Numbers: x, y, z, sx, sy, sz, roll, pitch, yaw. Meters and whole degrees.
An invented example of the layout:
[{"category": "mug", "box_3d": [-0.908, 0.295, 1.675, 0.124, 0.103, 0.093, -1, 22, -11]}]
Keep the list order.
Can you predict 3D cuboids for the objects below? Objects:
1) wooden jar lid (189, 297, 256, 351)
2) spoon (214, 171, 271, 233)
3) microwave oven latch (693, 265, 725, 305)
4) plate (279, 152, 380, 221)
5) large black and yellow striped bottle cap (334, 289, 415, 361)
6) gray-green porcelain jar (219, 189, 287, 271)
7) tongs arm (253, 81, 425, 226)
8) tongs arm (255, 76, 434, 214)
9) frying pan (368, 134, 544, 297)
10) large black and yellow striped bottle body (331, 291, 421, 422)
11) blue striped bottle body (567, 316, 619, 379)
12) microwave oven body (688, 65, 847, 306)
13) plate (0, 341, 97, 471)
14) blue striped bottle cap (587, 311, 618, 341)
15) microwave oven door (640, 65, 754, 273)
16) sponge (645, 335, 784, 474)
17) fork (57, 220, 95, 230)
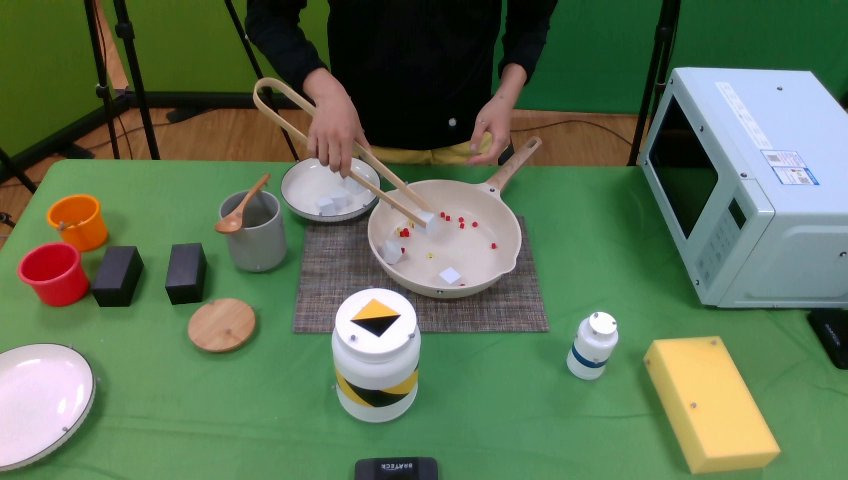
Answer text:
[{"category": "wooden jar lid", "box_3d": [-0.342, 0.145, 1.033, 0.108, 0.021, 0.107, 2, 45, -2]}, {"category": "spoon", "box_3d": [-0.312, -0.070, 1.070, 0.041, 0.022, 0.193, 10, 43, 10]}, {"category": "microwave oven latch", "box_3d": [0.523, 0.081, 1.116, 0.030, 0.029, 0.078, 2, 46, -1]}, {"category": "plate", "box_3d": [-0.196, -0.107, 1.269, 0.208, 0.039, 0.206, 2, 45, -2]}, {"category": "large black and yellow striped bottle cap", "box_3d": [-0.069, 0.117, 0.850, 0.115, 0.019, 0.114, 2, 45, -2]}, {"category": "gray-green porcelain jar", "box_3d": [-0.310, -0.014, 1.113, 0.106, 0.127, 0.105, 2, 46, -2]}, {"category": "tongs arm", "box_3d": [-0.153, -0.146, 1.086, 0.388, 0.028, 0.028, 38, 70, -8]}, {"category": "tongs arm", "box_3d": [-0.141, -0.164, 1.095, 0.385, 0.026, 0.050, 42, 66, -6]}, {"category": "frying pan", "box_3d": [0.104, -0.069, 1.205, 0.305, 0.103, 0.487, 33, 61, 23]}, {"category": "large black and yellow striped bottle body", "box_3d": [-0.071, 0.175, 0.911, 0.131, 0.185, 0.130, 2, 47, -2]}, {"category": "blue striped bottle body", "box_3d": [0.276, 0.168, 0.984, 0.063, 0.121, 0.062, 2, 46, -2]}, {"category": "microwave oven body", "box_3d": [0.669, -0.111, 1.176, 0.326, 0.261, 0.439, 0, 46, -3]}, {"category": "plate", "box_3d": [-0.599, 0.247, 0.904, 0.209, 0.038, 0.208, 2, 47, -2]}, {"category": "blue striped bottle cap", "box_3d": [0.279, 0.134, 0.946, 0.044, 0.021, 0.044, 2, 45, -2]}, {"category": "microwave oven door", "box_3d": [0.522, -0.147, 1.193, 0.039, 0.245, 0.353, 0, 47, -3]}, {"category": "sponge", "box_3d": [0.449, 0.253, 0.956, 0.118, 0.061, 0.205, -4, 46, -7]}, {"category": "fork", "box_3d": [-0.624, -0.027, 1.086, 0.028, 0.207, 0.018, -2, 91, -17]}]
